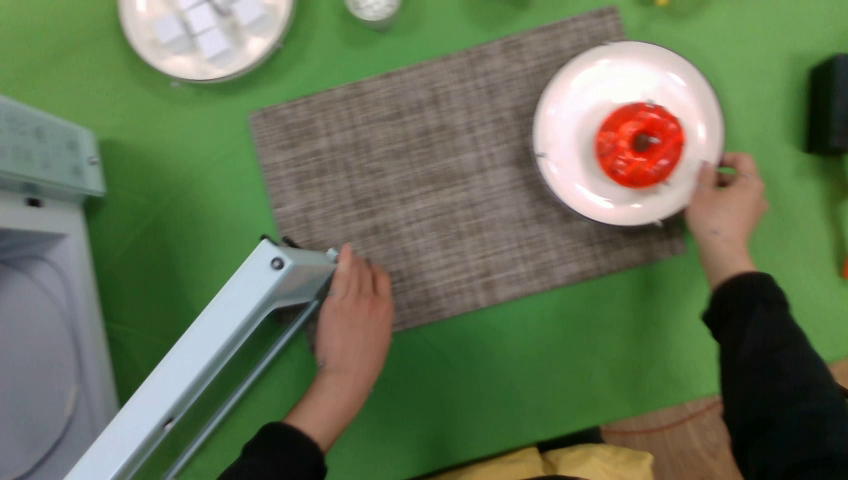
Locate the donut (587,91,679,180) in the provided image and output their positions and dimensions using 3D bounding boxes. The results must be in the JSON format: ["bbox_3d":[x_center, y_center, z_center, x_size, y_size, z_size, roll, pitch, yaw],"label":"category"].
[{"bbox_3d":[0.230,-0.115,0.671,0.099,0.048,0.099,0,90,4],"label":"donut"}]

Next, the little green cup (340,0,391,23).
[{"bbox_3d":[-0.067,-0.285,0.705,0.061,0.038,0.061,0,88,4],"label":"little green cup"}]

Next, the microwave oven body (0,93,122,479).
[{"bbox_3d":[-0.514,0.103,0.607,0.326,0.260,0.441,-13,89,2],"label":"microwave oven body"}]

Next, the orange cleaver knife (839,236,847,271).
[{"bbox_3d":[0.478,-0.068,0.649,0.012,0.076,0.213,4,119,7],"label":"orange cleaver knife"}]

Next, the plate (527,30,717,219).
[{"bbox_3d":[0.218,-0.127,0.682,0.209,0.038,0.209,0,89,3],"label":"plate"}]

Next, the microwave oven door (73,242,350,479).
[{"bbox_3d":[-0.216,0.145,0.585,0.039,0.244,0.356,39,91,4],"label":"microwave oven door"}]

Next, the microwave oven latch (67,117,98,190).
[{"bbox_3d":[-0.404,-0.100,0.701,0.030,0.029,0.079,-12,89,2],"label":"microwave oven latch"}]

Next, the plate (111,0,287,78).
[{"bbox_3d":[-0.261,-0.291,0.716,0.207,0.039,0.207,0,89,3],"label":"plate"}]
